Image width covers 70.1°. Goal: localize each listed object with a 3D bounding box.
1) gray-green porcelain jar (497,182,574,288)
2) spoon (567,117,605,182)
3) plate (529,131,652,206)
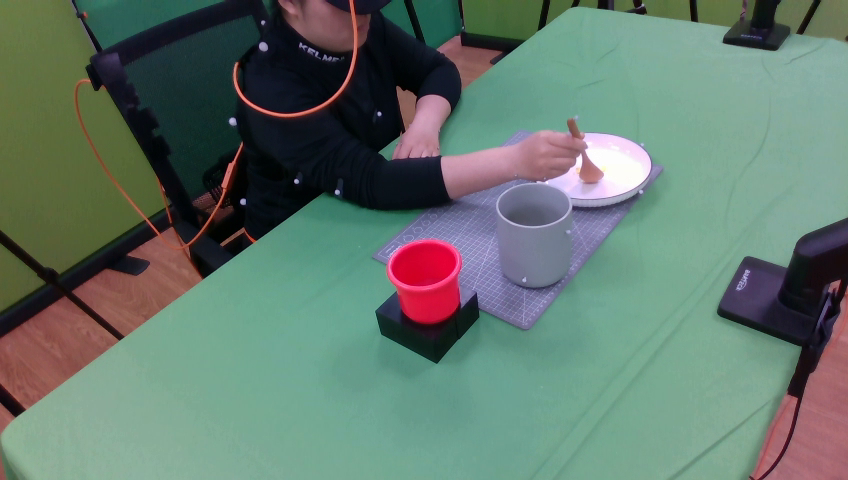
[{"bbox_3d":[0.161,-0.003,0.869,0.106,0.127,0.105,-5,40,5],"label":"gray-green porcelain jar"},{"bbox_3d":[0.254,-0.142,0.968,0.041,0.195,0.021,-7,60,25],"label":"spoon"},{"bbox_3d":[0.287,-0.121,1.056,0.207,0.039,0.206,-5,40,5],"label":"plate"}]
